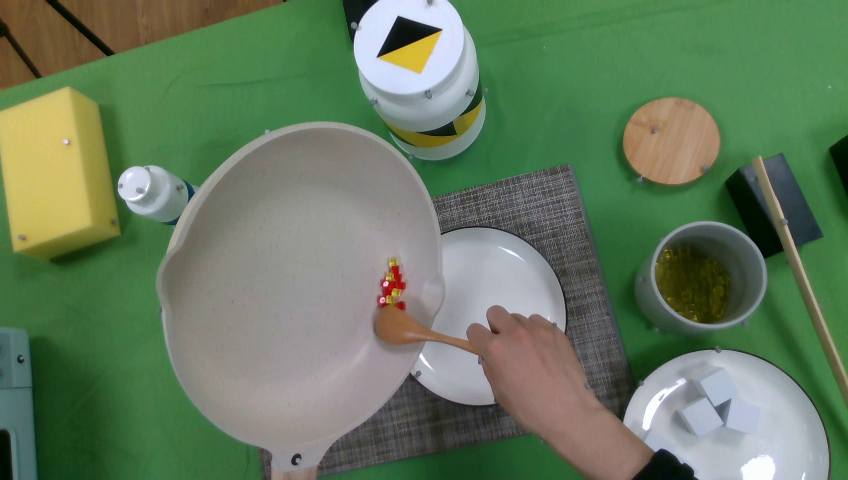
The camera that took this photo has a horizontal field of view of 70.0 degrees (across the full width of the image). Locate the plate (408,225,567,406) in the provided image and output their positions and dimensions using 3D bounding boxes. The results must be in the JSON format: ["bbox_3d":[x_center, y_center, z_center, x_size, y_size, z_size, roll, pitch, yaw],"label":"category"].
[{"bbox_3d":[0.061,0.086,0.710,0.209,0.038,0.208,-2,79,10],"label":"plate"}]

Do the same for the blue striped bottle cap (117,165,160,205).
[{"bbox_3d":[-0.336,-0.065,0.713,0.044,0.021,0.044,-1,81,9],"label":"blue striped bottle cap"}]

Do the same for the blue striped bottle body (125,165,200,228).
[{"bbox_3d":[-0.327,-0.054,0.762,0.063,0.121,0.063,-2,79,10],"label":"blue striped bottle body"}]

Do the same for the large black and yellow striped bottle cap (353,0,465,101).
[{"bbox_3d":[-0.016,-0.199,0.618,0.115,0.019,0.114,-2,81,9],"label":"large black and yellow striped bottle cap"}]

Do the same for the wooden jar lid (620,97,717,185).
[{"bbox_3d":[0.289,-0.116,0.722,0.108,0.021,0.108,-2,81,10],"label":"wooden jar lid"}]

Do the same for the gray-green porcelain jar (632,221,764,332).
[{"bbox_3d":[0.280,0.044,0.639,0.105,0.127,0.105,-2,79,10],"label":"gray-green porcelain jar"}]

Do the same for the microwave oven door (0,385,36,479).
[{"bbox_3d":[-0.513,0.337,0.639,0.039,0.245,0.354,-14,77,7],"label":"microwave oven door"}]

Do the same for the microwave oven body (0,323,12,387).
[{"bbox_3d":[-0.662,0.331,0.671,0.326,0.261,0.439,-13,78,7],"label":"microwave oven body"}]

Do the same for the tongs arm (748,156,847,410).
[{"bbox_3d":[0.426,0.087,0.623,0.051,0.026,0.384,-19,87,4],"label":"tongs arm"}]

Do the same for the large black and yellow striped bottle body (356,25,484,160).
[{"bbox_3d":[-0.002,-0.182,0.699,0.130,0.185,0.130,-2,78,10],"label":"large black and yellow striped bottle body"}]

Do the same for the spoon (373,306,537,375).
[{"bbox_3d":[0.024,0.102,0.607,0.192,0.022,0.041,10,96,28],"label":"spoon"}]

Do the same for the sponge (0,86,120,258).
[{"bbox_3d":[-0.504,-0.092,0.830,0.118,0.061,0.206,-19,78,5],"label":"sponge"}]

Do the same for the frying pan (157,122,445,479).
[{"bbox_3d":[-0.113,0.142,0.553,0.102,0.309,0.486,0,83,44],"label":"frying pan"}]

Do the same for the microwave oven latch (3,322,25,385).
[{"bbox_3d":[-0.537,0.147,0.784,0.030,0.029,0.079,-10,79,7],"label":"microwave oven latch"}]

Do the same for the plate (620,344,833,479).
[{"bbox_3d":[0.315,0.216,0.647,0.207,0.039,0.206,-2,79,10],"label":"plate"}]
